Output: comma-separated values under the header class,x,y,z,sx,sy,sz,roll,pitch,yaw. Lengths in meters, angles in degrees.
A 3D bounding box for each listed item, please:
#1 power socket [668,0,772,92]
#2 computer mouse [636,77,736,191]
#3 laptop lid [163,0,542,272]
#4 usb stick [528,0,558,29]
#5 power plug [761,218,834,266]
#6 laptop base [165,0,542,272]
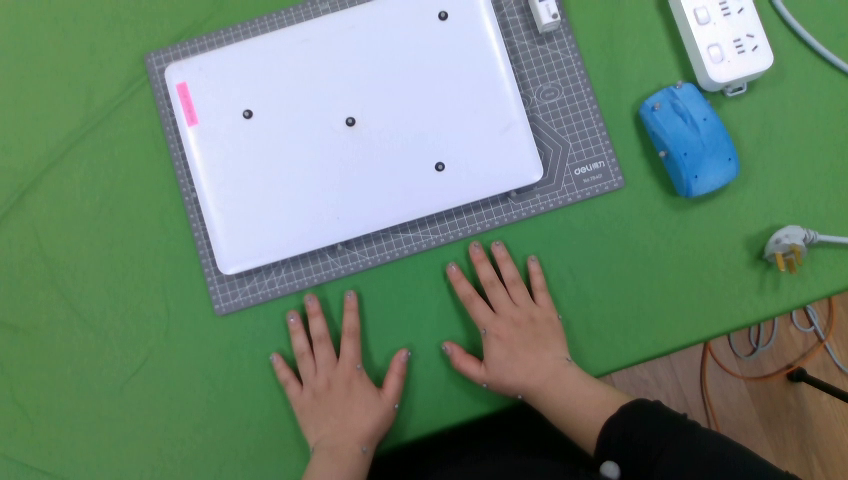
class,x,y,z,sx,sy,sz,roll,pitch,yaw
power socket,0.292,-0.267,0.633,0.072,0.032,0.226,-17,84,2
computer mouse,0.268,-0.110,0.618,0.063,0.041,0.116,-23,80,2
laptop lid,-0.077,-0.126,0.630,0.357,0.013,0.241,-16,87,1
usb stick,0.122,-0.256,0.639,0.021,0.027,0.059,-18,82,4
power plug,0.374,0.002,0.598,0.072,0.035,0.052,-1,54,14
laptop base,-0.077,-0.127,0.642,0.354,0.023,0.235,-17,88,0
